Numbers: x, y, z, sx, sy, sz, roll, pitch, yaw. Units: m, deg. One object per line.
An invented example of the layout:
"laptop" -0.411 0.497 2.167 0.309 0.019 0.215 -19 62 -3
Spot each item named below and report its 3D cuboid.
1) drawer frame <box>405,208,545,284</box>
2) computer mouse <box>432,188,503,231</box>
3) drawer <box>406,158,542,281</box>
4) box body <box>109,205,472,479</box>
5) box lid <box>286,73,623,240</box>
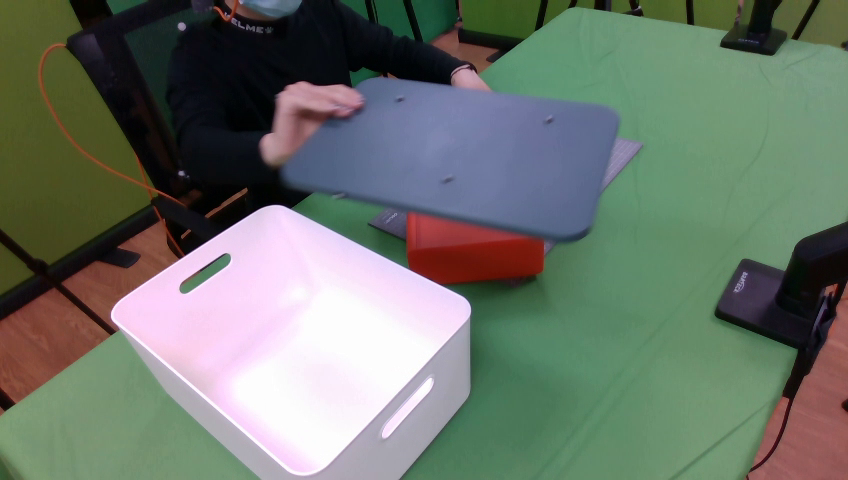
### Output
"drawer frame" 0.073 -0.036 0.953 0.202 0.083 0.212 -6 41 1
"computer mouse" 0.071 -0.051 0.994 0.117 0.041 0.062 -10 44 6
"drawer" 0.072 -0.037 0.957 0.194 0.073 0.210 -5 41 1
"box body" -0.147 0.135 0.726 0.361 0.161 0.255 25 50 32
"box lid" 0.042 -0.120 0.745 0.370 0.015 0.263 12 45 16
